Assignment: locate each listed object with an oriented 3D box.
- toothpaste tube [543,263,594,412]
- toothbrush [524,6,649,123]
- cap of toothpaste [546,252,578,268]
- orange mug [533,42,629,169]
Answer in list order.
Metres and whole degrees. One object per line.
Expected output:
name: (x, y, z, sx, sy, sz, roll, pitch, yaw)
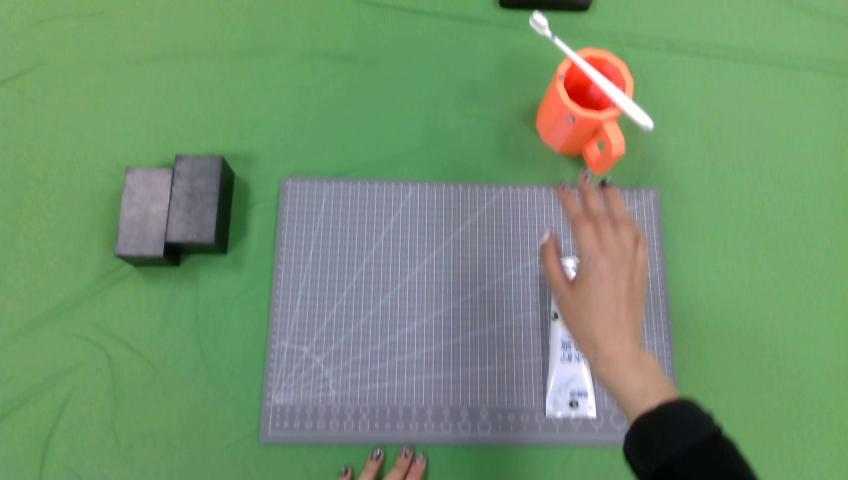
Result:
toothpaste tube: (0.155, 0.104, 0.667, 0.055, 0.034, 0.164, -1, 79, 4)
toothbrush: (0.176, -0.191, 0.657, 0.014, 0.017, 0.181, -42, 82, -15)
cap of toothpaste: (0.156, 0.024, 0.682, 0.037, 0.037, 0.011, -11, 73, -6)
orange mug: (0.186, -0.149, 0.701, 0.083, 0.101, 0.125, -20, 73, -8)
